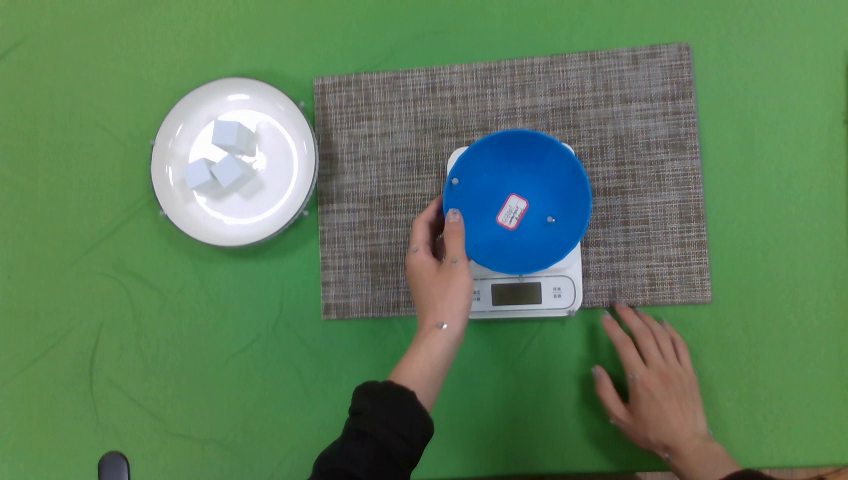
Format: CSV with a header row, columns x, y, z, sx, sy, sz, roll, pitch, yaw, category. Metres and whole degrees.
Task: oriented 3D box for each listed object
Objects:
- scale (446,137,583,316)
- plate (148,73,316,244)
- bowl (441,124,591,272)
x,y,z,sx,sy,sz,roll,pitch,yaw,category
0.102,-0.016,0.694,0.148,0.031,0.200,-3,86,7,scale
-0.230,-0.097,0.739,0.207,0.039,0.207,0,86,6,plate
0.095,-0.039,0.644,0.151,0.077,0.151,0,86,6,bowl
